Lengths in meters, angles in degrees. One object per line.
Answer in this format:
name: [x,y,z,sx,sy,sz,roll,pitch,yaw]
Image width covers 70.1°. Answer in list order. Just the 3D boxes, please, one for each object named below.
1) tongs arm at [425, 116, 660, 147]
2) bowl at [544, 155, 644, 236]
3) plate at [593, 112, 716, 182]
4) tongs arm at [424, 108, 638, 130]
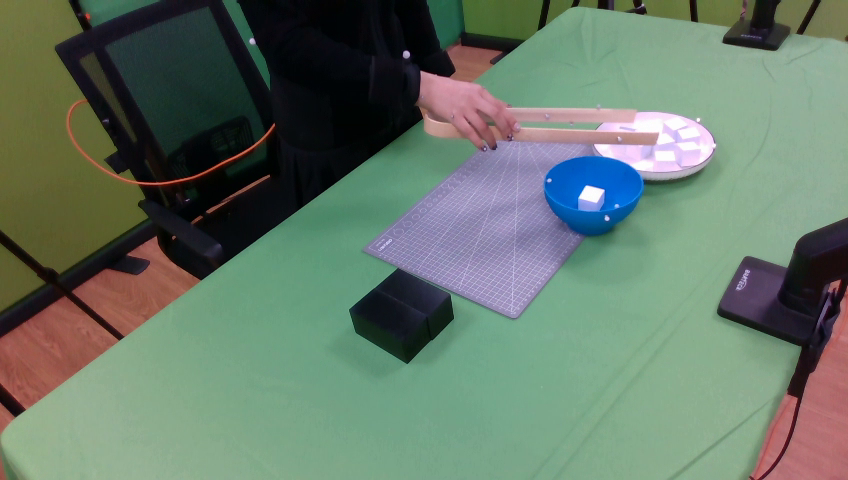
tongs arm: [0.195,-0.173,0.983,0.388,0.028,0.028,2,40,-6]
bowl: [0.266,-0.061,0.957,0.151,0.077,0.150,-5,40,5]
plate: [0.408,-0.163,1.084,0.207,0.039,0.206,-4,40,4]
tongs arm: [0.189,-0.203,1.024,0.386,0.026,0.050,0,37,-9]
